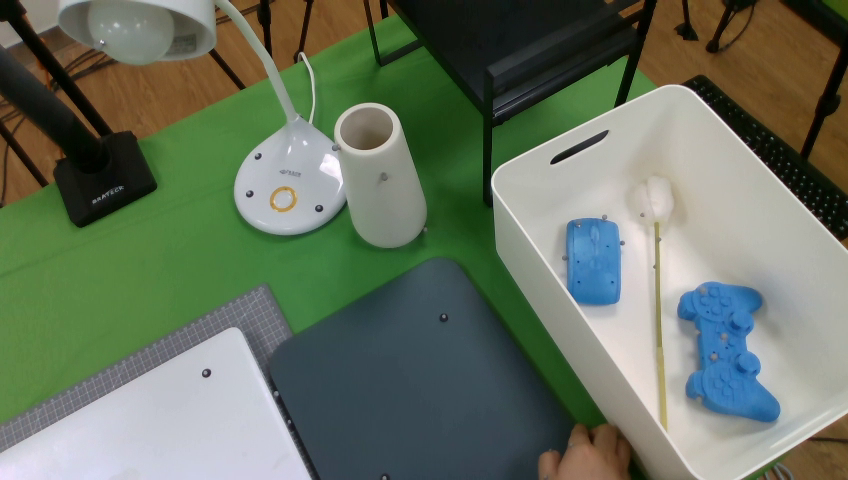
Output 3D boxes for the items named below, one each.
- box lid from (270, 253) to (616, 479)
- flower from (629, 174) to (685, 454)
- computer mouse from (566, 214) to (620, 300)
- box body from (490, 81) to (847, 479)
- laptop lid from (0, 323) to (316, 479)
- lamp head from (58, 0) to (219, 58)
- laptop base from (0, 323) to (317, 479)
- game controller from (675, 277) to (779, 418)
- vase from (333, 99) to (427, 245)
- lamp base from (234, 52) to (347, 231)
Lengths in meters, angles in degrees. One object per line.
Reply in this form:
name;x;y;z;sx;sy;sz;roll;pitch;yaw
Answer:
box lid;0.012;0.202;0.669;0.263;0.015;0.368;-29;65;-12
flower;0.276;0.082;0.699;0.044;0.038;0.358;-13;59;29
computer mouse;0.203;0.017;0.729;0.062;0.041;0.116;4;59;10
box body;0.262;0.044;0.648;0.254;0.162;0.360;-27;64;-9
laptop lid;-0.313;0.267;0.646;0.357;0.013;0.239;-28;67;-9
lamp head;-0.216;-0.215;0.470;0.112;0.113;0.122;-2;80;4
laptop base;-0.313;0.270;0.657;0.354;0.023;0.233;-29;68;-10
game controller;0.334;0.112;0.667;0.097;0.052;0.154;2;62;8
vase;-0.052;-0.075;0.712;0.098;0.202;0.097;-3;62;5
lamp base;-0.184;-0.130;0.761;0.160;0.182;0.177;1;60;5
